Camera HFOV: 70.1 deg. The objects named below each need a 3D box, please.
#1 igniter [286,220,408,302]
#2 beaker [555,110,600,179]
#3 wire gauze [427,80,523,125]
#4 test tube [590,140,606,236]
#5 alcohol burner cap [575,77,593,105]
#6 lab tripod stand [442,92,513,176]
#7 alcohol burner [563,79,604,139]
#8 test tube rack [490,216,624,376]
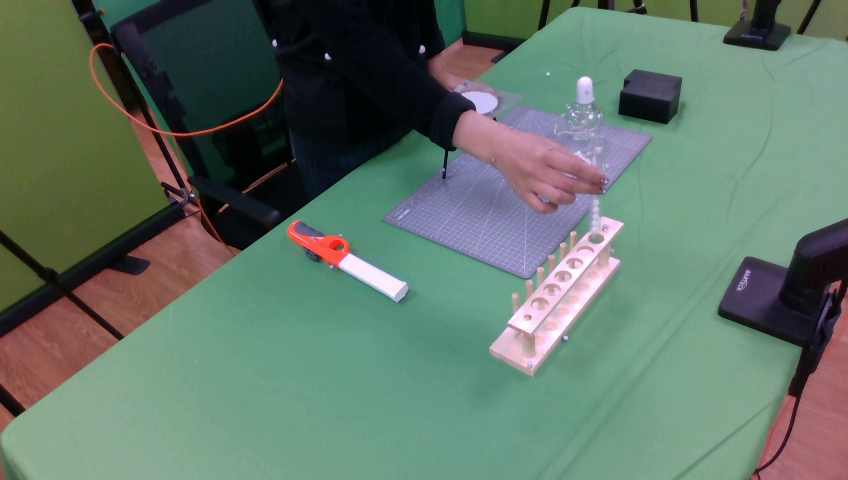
[{"bbox_3d":[-0.133,0.028,0.968,0.274,0.025,0.057,26,61,35],"label":"igniter"},{"bbox_3d":[0.266,-0.165,1.061,0.084,0.101,0.073,-24,42,-15],"label":"beaker"},{"bbox_3d":[0.088,-0.238,1.049,0.120,0.011,0.125,22,49,30],"label":"wire gauze"},{"bbox_3d":[0.221,-0.062,0.768,0.017,0.151,0.017,-7,43,7],"label":"test tube"},{"bbox_3d":[0.297,-0.279,1.123,0.034,0.048,0.033,-8,41,8],"label":"alcohol burner cap"},{"bbox_3d":[0.096,-0.190,1.096,0.148,0.132,0.147,-4,40,4],"label":"lab tripod stand"},{"bbox_3d":[0.303,-0.252,1.146,0.078,0.119,0.077,-4,41,4],"label":"alcohol burner"},{"bbox_3d":[0.184,0.064,0.822,0.066,0.085,0.243,24,50,33],"label":"test tube rack"}]
